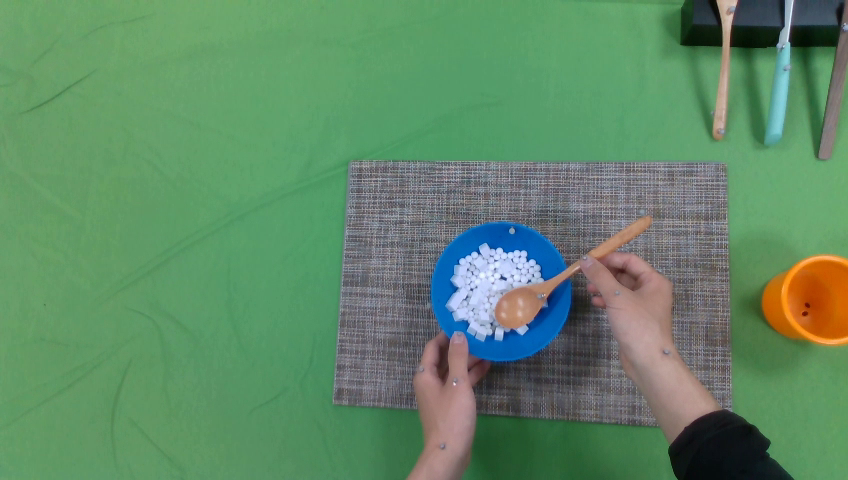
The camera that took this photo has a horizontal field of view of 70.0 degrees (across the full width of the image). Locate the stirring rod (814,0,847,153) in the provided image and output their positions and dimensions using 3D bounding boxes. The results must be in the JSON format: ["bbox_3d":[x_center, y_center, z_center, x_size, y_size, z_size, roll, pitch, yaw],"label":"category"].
[{"bbox_3d":[0.459,-0.186,0.678,0.014,0.006,0.176,4,101,6],"label":"stirring rod"}]

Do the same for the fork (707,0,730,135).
[{"bbox_3d":[0.336,-0.224,0.689,0.028,0.018,0.208,-1,101,5],"label":"fork"}]

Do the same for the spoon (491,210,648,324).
[{"bbox_3d":[0.149,0.029,0.632,0.194,0.022,0.041,-38,72,26],"label":"spoon"}]

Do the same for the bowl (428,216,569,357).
[{"bbox_3d":[0.083,0.054,0.677,0.151,0.077,0.151,-1,81,7],"label":"bowl"}]

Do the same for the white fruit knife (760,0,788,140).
[{"bbox_3d":[0.397,-0.218,0.679,0.016,0.027,0.208,2,98,5],"label":"white fruit knife"}]
